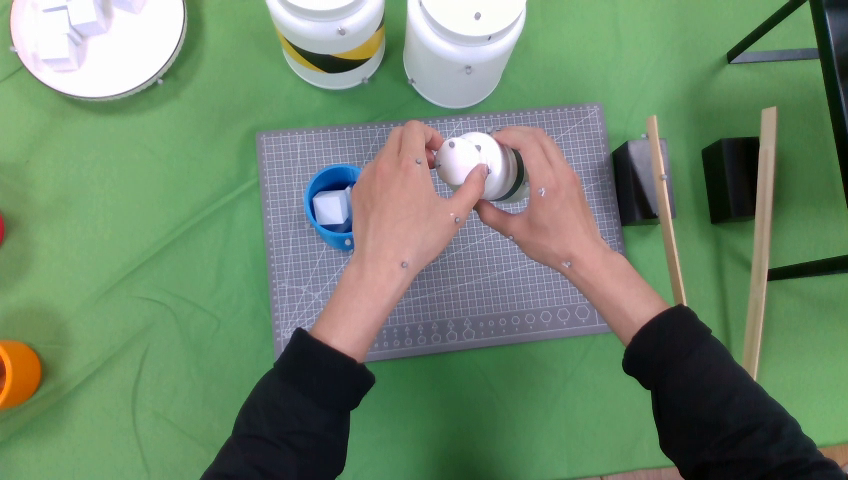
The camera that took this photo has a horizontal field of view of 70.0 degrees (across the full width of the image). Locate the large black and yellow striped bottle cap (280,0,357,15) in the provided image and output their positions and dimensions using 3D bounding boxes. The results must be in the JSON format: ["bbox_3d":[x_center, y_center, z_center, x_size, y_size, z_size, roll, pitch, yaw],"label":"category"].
[{"bbox_3d":[-0.109,-0.286,0.613,0.115,0.019,0.114,1,83,-6],"label":"large black and yellow striped bottle cap"}]

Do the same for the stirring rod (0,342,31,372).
[{"bbox_3d":[-0.493,0.165,0.633,0.014,0.006,0.175,41,39,-2],"label":"stirring rod"}]

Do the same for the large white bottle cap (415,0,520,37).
[{"bbox_3d":[0.045,-0.265,0.621,0.115,0.018,0.114,1,82,-5],"label":"large white bottle cap"}]

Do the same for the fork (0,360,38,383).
[{"bbox_3d":[-0.520,0.129,0.630,0.209,0.018,0.028,20,76,-45],"label":"fork"}]

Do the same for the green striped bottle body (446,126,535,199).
[{"bbox_3d":[0.060,-0.075,0.596,0.063,0.120,0.063,0,90,30],"label":"green striped bottle body"}]

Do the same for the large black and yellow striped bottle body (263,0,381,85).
[{"bbox_3d":[-0.114,-0.272,0.695,0.131,0.184,0.130,1,82,-4],"label":"large black and yellow striped bottle body"}]

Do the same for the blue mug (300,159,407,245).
[{"bbox_3d":[-0.078,-0.041,0.705,0.117,0.106,0.082,1,82,-4],"label":"blue mug"}]

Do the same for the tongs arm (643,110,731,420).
[{"bbox_3d":[0.316,0.033,0.729,0.051,0.026,0.385,-11,95,-8],"label":"tongs arm"}]

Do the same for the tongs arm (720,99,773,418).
[{"bbox_3d":[0.397,0.025,0.739,0.028,0.027,0.387,2,94,-13],"label":"tongs arm"}]

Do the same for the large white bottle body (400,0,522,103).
[{"bbox_3d":[0.040,-0.252,0.704,0.131,0.185,0.130,1,82,-4],"label":"large white bottle body"}]

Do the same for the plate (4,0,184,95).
[{"bbox_3d":[-0.399,-0.275,0.747,0.208,0.039,0.207,1,83,-4],"label":"plate"}]

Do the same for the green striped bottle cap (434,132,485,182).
[{"bbox_3d":[0.032,-0.075,0.545,0.044,0.020,0.044,1,93,29],"label":"green striped bottle cap"}]
